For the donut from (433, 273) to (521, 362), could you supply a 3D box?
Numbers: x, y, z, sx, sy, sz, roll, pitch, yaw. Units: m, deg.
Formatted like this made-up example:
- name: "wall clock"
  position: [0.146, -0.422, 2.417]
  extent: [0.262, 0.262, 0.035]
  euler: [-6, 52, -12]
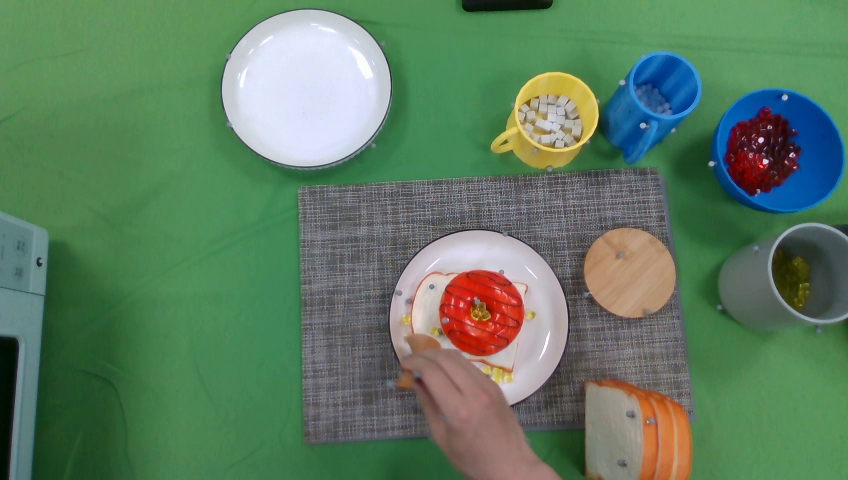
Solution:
- name: "donut"
  position: [0.059, 0.085, 0.674]
  extent: [0.099, 0.048, 0.098]
  euler: [1, 77, -2]

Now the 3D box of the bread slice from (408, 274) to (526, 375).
- name: "bread slice"
  position: [0.047, 0.093, 0.700]
  extent: [0.131, 0.019, 0.104]
  euler: [10, 79, 1]

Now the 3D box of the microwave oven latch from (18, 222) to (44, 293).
- name: "microwave oven latch"
  position: [-0.451, 0.020, 0.684]
  extent: [0.030, 0.029, 0.079]
  euler: [0, 79, -2]

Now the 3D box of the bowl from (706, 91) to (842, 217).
- name: "bowl"
  position: [0.404, -0.093, 0.730]
  extent: [0.151, 0.077, 0.150]
  euler: [0, 79, -1]

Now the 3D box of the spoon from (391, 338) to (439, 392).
- name: "spoon"
  position: [-0.011, 0.120, 0.583]
  extent: [0.041, 0.193, 0.021]
  euler: [16, 95, 5]

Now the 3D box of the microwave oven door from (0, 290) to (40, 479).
- name: "microwave oven door"
  position: [-0.443, 0.214, 0.543]
  extent: [0.039, 0.244, 0.354]
  euler: [-2, 78, -2]

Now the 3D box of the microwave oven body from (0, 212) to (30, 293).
- name: "microwave oven body"
  position: [-0.590, 0.179, 0.551]
  extent: [0.326, 0.261, 0.439]
  euler: [-2, 79, -2]

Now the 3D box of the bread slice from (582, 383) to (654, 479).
- name: "bread slice"
  position: [0.200, 0.205, 0.637]
  extent: [0.018, 0.134, 0.106]
  euler: [5, 77, -9]

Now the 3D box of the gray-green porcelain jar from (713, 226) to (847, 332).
- name: "gray-green porcelain jar"
  position: [0.397, 0.049, 0.677]
  extent: [0.106, 0.127, 0.105]
  euler: [0, 78, -1]

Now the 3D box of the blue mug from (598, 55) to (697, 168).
- name: "blue mug"
  position: [0.259, -0.142, 0.722]
  extent: [0.082, 0.106, 0.116]
  euler: [17, 79, 2]

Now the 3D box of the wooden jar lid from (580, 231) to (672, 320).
- name: "wooden jar lid"
  position: [0.240, 0.043, 0.724]
  extent: [0.108, 0.021, 0.108]
  euler: [0, 80, -1]

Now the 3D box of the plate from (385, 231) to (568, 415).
- name: "plate"
  position: [0.060, 0.094, 0.700]
  extent: [0.209, 0.038, 0.208]
  euler: [0, 79, -1]

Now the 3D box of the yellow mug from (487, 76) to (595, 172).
- name: "yellow mug"
  position: [0.137, -0.134, 0.737]
  extent: [0.131, 0.064, 0.099]
  euler: [-24, 80, -5]

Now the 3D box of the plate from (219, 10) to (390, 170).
- name: "plate"
  position: [-0.145, -0.183, 0.753]
  extent: [0.208, 0.039, 0.206]
  euler: [0, 79, -2]
